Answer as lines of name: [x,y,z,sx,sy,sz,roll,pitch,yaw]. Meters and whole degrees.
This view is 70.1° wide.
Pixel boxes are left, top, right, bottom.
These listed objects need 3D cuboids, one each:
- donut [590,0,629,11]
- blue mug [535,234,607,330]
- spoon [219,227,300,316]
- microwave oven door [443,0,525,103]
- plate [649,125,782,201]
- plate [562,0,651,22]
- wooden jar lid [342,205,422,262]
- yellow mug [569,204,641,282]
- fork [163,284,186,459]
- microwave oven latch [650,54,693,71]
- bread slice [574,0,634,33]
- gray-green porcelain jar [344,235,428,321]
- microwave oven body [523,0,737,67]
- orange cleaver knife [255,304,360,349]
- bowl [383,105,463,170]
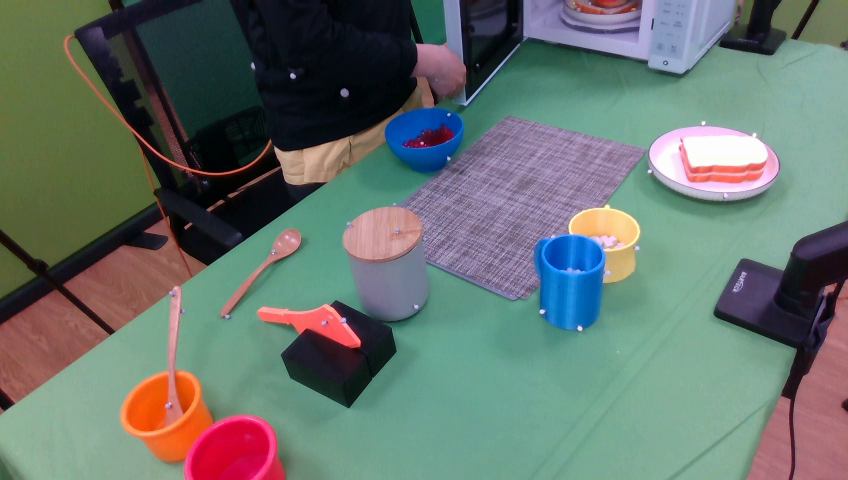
donut: [0.439,-0.582,1.433,0.099,0.048,0.098,0,59,0]
blue mug: [0.190,0.048,0.824,0.082,0.106,0.115,-26,44,-21]
spoon: [-0.260,0.046,0.954,0.041,0.021,0.194,26,48,12]
microwave oven door: [0.141,-0.494,1.327,0.039,0.245,0.356,15,45,24]
plate: [0.493,-0.128,1.036,0.207,0.039,0.206,-4,41,4]
plate: [0.441,-0.574,1.458,0.209,0.038,0.208,-6,42,6]
wooden jar lid: [-0.055,-0.006,0.808,0.108,0.021,0.108,-6,41,6]
yellow mug: [0.268,-0.005,0.904,0.099,0.064,0.130,7,41,15]
fork: [-0.303,0.157,0.733,0.028,0.019,0.207,-3,84,14]
microwave oven latch: [0.532,-0.386,1.302,0.078,0.029,0.030,26,52,34]
bread slice: [0.431,-0.562,1.475,0.105,0.019,0.130,-31,66,-23]
gray-green porcelain jar: [-0.049,0.042,0.849,0.106,0.127,0.105,-4,41,4]
microwave oven body: [0.475,-0.602,1.411,0.438,0.261,0.327,23,50,32]
orange cleaver knife: [-0.161,0.115,0.813,0.210,0.077,0.012,-4,32,47]
bowl: [0.002,-0.185,1.143,0.151,0.077,0.150,-4,41,4]
